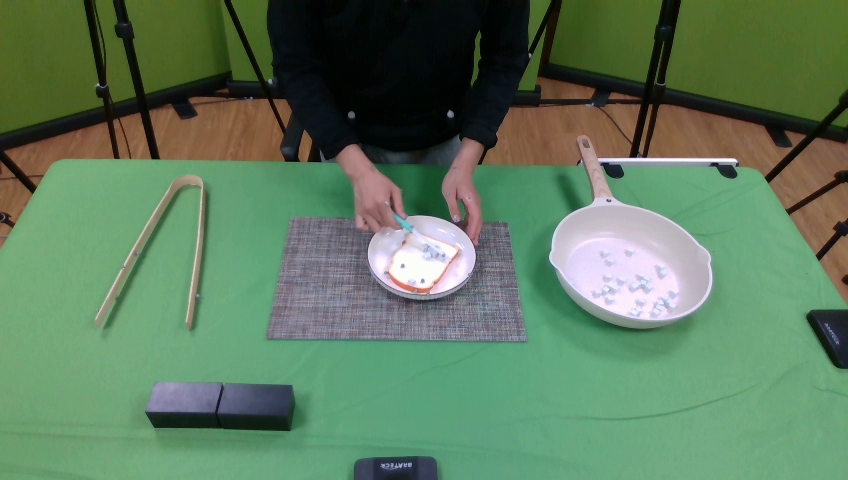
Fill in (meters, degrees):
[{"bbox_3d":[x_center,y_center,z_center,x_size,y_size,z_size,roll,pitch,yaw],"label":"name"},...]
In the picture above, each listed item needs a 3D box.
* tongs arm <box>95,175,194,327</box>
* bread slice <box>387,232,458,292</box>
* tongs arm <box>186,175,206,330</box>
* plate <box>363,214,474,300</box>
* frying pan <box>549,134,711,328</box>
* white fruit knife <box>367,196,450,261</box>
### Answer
[{"bbox_3d":[-0.515,0.006,1.142,0.051,0.026,0.382,4,45,-2],"label":"tongs arm"},{"bbox_3d":[-0.007,0.043,1.142,0.107,0.018,0.134,18,46,14],"label":"bread slice"},{"bbox_3d":[-0.436,0.009,1.151,0.028,0.028,0.385,-7,47,-8],"label":"tongs arm"},{"bbox_3d":[-0.010,0.036,1.147,0.208,0.039,0.206,2,46,-2],"label":"plate"},{"bbox_3d":[0.372,-0.035,1.203,0.307,0.103,0.484,-1,55,-6],"label":"frying pan"},{"bbox_3d":[-0.030,-0.022,1.147,0.207,0.016,0.027,37,14,14],"label":"white fruit knife"}]
